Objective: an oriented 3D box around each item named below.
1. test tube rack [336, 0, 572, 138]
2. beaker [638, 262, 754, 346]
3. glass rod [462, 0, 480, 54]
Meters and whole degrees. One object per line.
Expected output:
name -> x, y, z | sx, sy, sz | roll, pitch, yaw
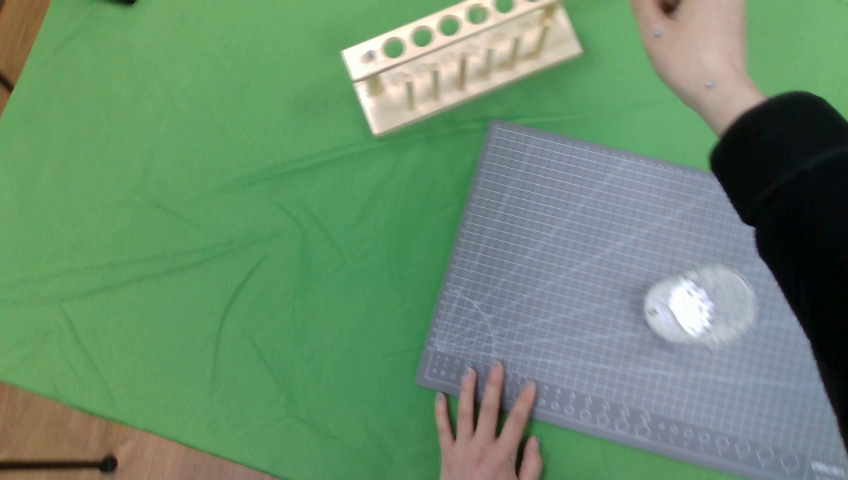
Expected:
test tube rack -> 0.038, -0.194, 0.638 | 0.242, 0.085, 0.066 | -22, 81, -1
beaker -> 0.251, 0.064, 0.581 | 0.084, 0.100, 0.073 | 4, 81, 4
glass rod -> 0.052, -0.235, 0.577 | 0.008, 0.200, 0.008 | 1, 74, -3
